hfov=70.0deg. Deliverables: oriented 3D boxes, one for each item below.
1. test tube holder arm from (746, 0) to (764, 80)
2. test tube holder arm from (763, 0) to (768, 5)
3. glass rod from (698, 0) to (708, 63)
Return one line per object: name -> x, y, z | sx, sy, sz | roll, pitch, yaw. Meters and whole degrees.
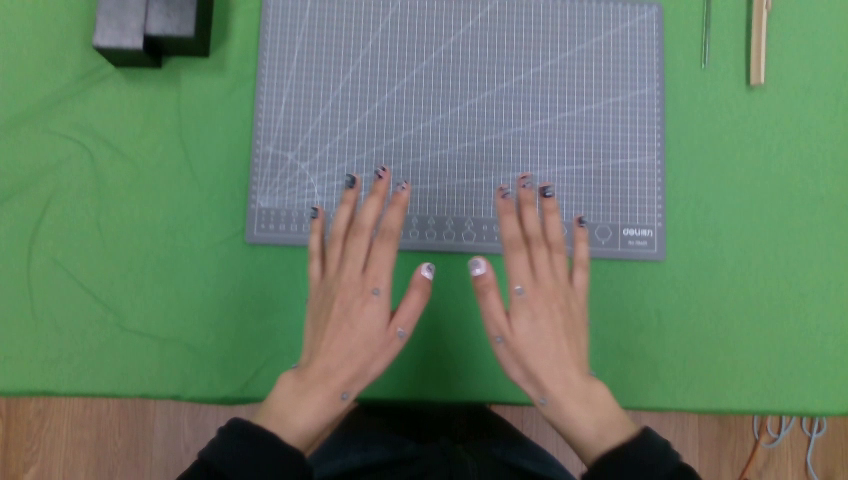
test tube holder arm -> 0.380, -0.268, 0.689 | 0.013, 0.015, 0.178 | 13, 82, -30
test tube holder arm -> 0.391, -0.311, 0.697 | 0.010, 0.015, 0.087 | 13, 82, -30
glass rod -> 0.324, -0.299, 0.698 | 0.008, 0.008, 0.199 | 7, 83, -2
